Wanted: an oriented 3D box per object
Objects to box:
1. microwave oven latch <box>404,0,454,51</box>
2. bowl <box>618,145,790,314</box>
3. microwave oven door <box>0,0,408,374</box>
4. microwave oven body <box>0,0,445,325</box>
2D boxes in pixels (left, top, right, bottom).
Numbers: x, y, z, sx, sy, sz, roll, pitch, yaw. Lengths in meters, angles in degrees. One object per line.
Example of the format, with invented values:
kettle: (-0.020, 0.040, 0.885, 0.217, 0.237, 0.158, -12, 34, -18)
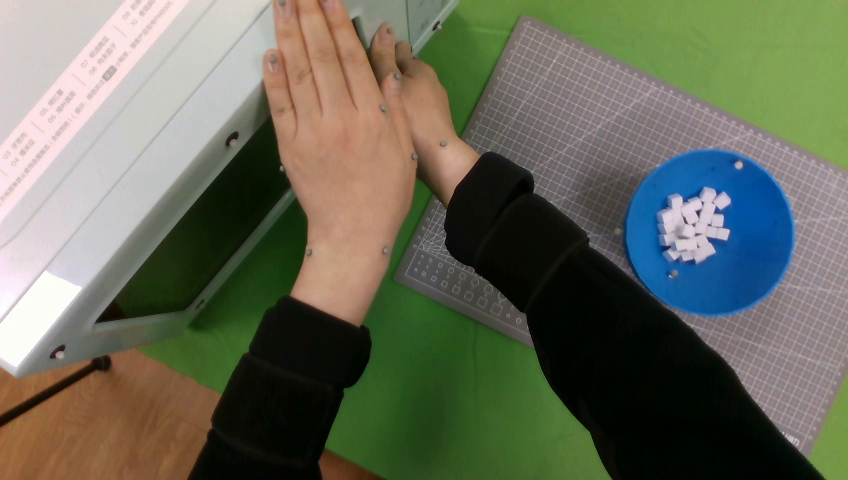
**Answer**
microwave oven latch: (0.002, -0.223, 0.583, 0.030, 0.029, 0.079, 42, 89, 1)
bowl: (0.250, -0.008, 0.573, 0.151, 0.077, 0.151, 0, 88, 0)
microwave oven door: (-0.141, -0.059, 0.475, 0.039, 0.244, 0.355, 39, 88, 2)
microwave oven body: (-0.226, -0.185, 0.484, 0.326, 0.260, 0.441, 40, 89, 1)
